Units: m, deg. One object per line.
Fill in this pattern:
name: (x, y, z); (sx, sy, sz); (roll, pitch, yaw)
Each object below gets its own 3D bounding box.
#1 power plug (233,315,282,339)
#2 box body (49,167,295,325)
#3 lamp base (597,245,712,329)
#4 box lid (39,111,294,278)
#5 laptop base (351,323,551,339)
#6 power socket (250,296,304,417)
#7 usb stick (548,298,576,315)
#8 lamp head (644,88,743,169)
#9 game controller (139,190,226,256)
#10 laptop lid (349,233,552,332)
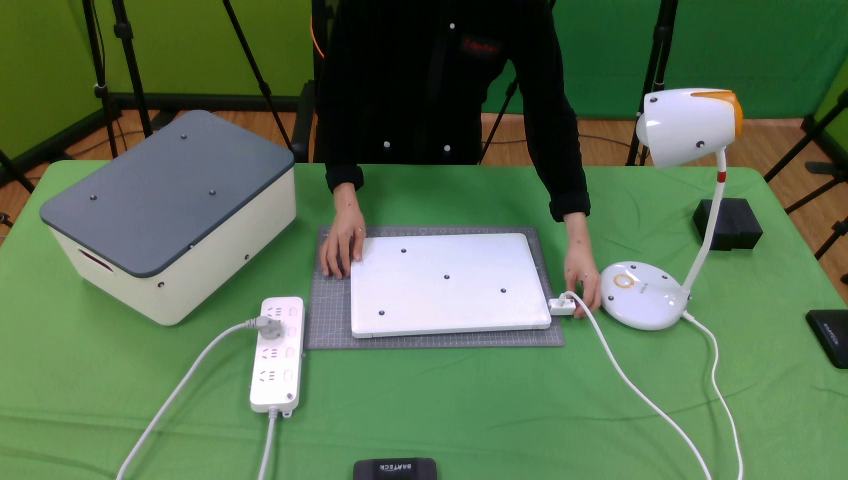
power plug: (-0.271, 0.144, 0.999); (0.072, 0.053, 0.035); (6, 47, 3)
box body: (-0.437, -0.046, 1.110); (0.253, 0.161, 0.363); (24, 49, 19)
lamp base: (0.418, 0.050, 1.071); (0.179, 0.181, 0.160); (23, 49, 13)
box lid: (-0.435, -0.097, 1.055); (0.262, 0.015, 0.370); (25, 49, 18)
laptop base: (0.040, 0.081, 1.125); (0.355, 0.023, 0.234); (-2, 43, -6)
power socket: (-0.239, 0.182, 0.996); (0.072, 0.033, 0.225); (-2, 47, -5)
usb stick: (0.240, 0.120, 1.086); (0.059, 0.027, 0.021); (-3, 54, -2)
lamp head: (0.380, -0.161, 0.851); (0.122, 0.113, 0.112); (-4, 42, 25)
game controller: (-0.436, -0.038, 1.080); (0.097, 0.052, 0.154); (-38, 60, -26)
laptop lid: (0.040, 0.071, 1.118); (0.357, 0.013, 0.240); (-1, 44, -5)
